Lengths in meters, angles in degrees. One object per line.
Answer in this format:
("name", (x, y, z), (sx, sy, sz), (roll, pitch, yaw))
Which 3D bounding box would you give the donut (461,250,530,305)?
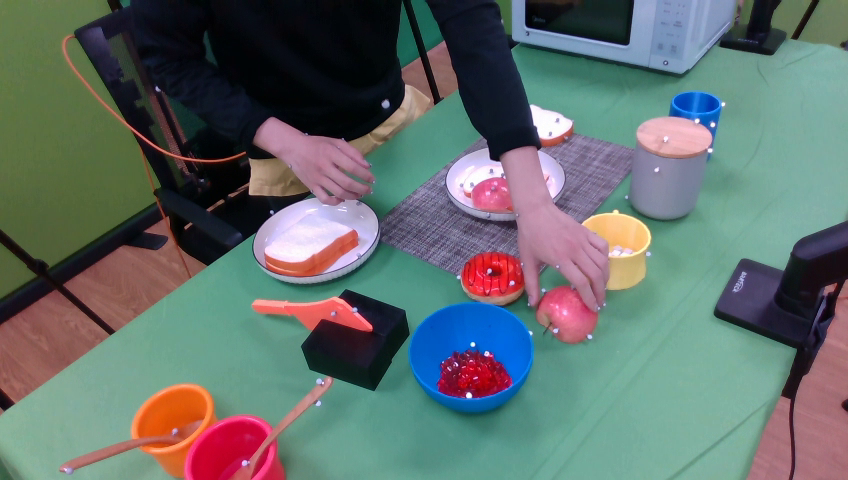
("donut", (0.104, 0.053, 0.872), (0.099, 0.048, 0.098), (-5, 40, 5))

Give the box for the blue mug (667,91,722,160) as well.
("blue mug", (0.474, -0.207, 1.079), (0.082, 0.106, 0.116), (4, 42, 13))

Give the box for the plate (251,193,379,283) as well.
("plate", (-0.174, -0.001, 0.984), (0.209, 0.038, 0.208), (-4, 41, 4))

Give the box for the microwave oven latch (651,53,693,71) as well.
("microwave oven latch", (0.532, -0.386, 1.301), (0.078, 0.029, 0.030), (27, 52, 34))

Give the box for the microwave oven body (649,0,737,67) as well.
("microwave oven body", (0.475, -0.602, 1.411), (0.438, 0.261, 0.327), (23, 50, 32))

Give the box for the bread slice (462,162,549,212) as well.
("bread slice", (0.135, -0.093, 1.045), (0.133, 0.018, 0.107), (16, 45, 23))

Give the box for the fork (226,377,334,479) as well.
("fork", (-0.163, 0.216, 0.647), (0.207, 0.019, 0.028), (-49, 41, 16))

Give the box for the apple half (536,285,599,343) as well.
("apple half", (0.196, 0.091, 0.815), (0.075, 0.053, 0.080), (-22, 42, -21))

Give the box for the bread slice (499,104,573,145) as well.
("bread slice", (0.231, -0.231, 1.205), (0.105, 0.019, 0.130), (-36, 47, -28))

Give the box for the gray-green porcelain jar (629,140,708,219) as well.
("gray-green porcelain jar", (0.383, -0.105, 0.958), (0.106, 0.127, 0.105), (-4, 41, 4))

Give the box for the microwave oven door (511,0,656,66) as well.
("microwave oven door", (0.351, -0.540, 1.349), (0.353, 0.245, 0.039), (24, 50, 31))

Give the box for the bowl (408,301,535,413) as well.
("bowl", (0.060, 0.156, 0.739), (0.151, 0.077, 0.150), (-4, 40, 4))

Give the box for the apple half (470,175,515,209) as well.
("apple half", (0.114, -0.086, 1.004), (0.081, 0.033, 0.081), (-4, 43, 4))

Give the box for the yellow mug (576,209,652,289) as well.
("yellow mug", (0.279, 0.004, 0.893), (0.099, 0.064, 0.130), (6, 41, 14))

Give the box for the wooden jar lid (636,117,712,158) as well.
("wooden jar lid", (0.377, -0.151, 0.917), (0.108, 0.021, 0.108), (-2, 41, 3))

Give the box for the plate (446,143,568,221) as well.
("plate", (0.142, -0.097, 1.045), (0.207, 0.039, 0.206), (-4, 40, 4))

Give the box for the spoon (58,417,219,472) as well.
("spoon", (-0.304, 0.221, 0.661), (0.041, 0.195, 0.021), (20, 92, 27))

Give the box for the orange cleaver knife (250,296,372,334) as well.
("orange cleaver knife", (-0.158, 0.103, 0.828), (0.210, 0.078, 0.012), (-4, 43, 39))
